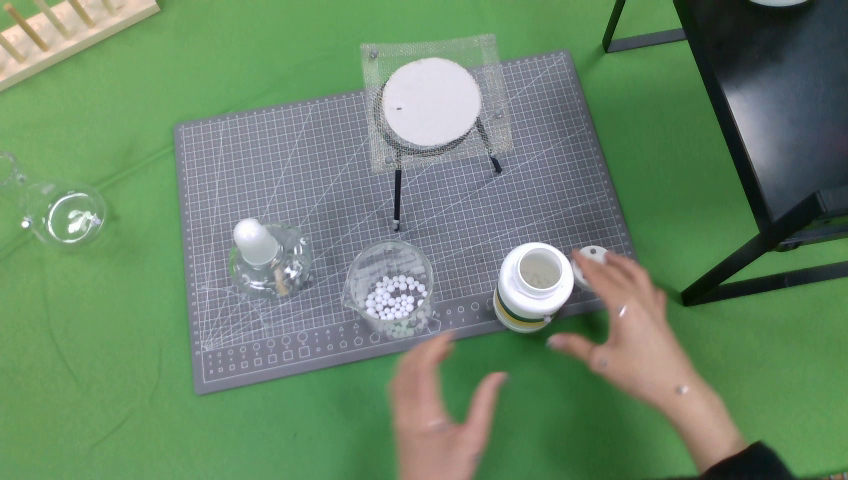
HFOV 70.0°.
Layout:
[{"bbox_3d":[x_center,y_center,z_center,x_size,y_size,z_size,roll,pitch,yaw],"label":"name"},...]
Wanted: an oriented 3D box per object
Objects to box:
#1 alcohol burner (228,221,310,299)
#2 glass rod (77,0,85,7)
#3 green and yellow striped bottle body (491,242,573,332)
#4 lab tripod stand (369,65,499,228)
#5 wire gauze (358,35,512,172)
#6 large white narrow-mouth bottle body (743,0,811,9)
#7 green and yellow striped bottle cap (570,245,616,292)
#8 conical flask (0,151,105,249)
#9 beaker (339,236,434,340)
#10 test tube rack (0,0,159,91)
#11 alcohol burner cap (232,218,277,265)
[{"bbox_3d":[-0.149,0.013,0.564,0.078,0.120,0.077,0,69,1],"label":"alcohol burner"},{"bbox_3d":[-0.401,-0.316,0.630,0.008,0.201,0.008,1,68,-2],"label":"glass rod"},{"bbox_3d":[0.095,0.042,0.542,0.063,0.120,0.063,-1,71,2],"label":"green and yellow striped bottle body"},{"bbox_3d":[0.004,-0.094,0.584,0.148,0.132,0.147,0,69,1],"label":"lab tripod stand"},{"bbox_3d":[0.008,-0.122,0.521,0.121,0.011,0.124,-6,72,-2],"label":"wire gauze"},{"bbox_3d":[0.282,-0.261,0.412,0.102,0.196,0.101,0,69,2],"label":"large white narrow-mouth bottle body"},{"bbox_3d":[0.167,0.027,0.599,0.045,0.020,0.045,-1,71,4],"label":"green and yellow striped bottle cap"},{"bbox_3d":[-0.376,-0.043,0.588,0.075,0.122,0.075,-1,71,2],"label":"conical flask"},{"bbox_3d":[-0.030,0.051,0.555,0.084,0.101,0.073,-23,71,-4],"label":"beaker"},{"bbox_3d":[-0.439,-0.253,0.680,0.242,0.086,0.066,-31,73,-8],"label":"test tube rack"},{"bbox_3d":[-0.151,-0.001,0.530,0.034,0.048,0.033,0,64,0],"label":"alcohol burner cap"}]
